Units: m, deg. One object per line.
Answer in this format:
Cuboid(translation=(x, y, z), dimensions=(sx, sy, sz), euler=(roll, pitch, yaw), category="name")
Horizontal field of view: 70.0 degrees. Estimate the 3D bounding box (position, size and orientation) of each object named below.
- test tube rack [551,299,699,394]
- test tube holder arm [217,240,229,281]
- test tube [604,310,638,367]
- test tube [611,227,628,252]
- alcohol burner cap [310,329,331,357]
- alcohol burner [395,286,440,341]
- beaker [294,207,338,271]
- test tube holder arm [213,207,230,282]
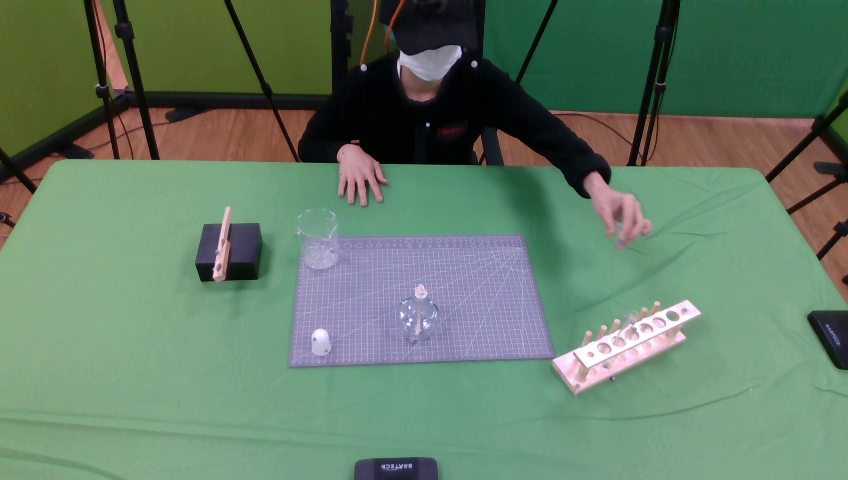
Cuboid(translation=(0.339, 0.166, 1.021), dimensions=(0.242, 0.085, 0.066), euler=(-19, 50, -21), category="test tube rack")
Cuboid(translation=(-0.355, 0.035, 1.070), dimensions=(0.010, 0.015, 0.087), euler=(-9, 47, -1), category="test tube holder arm")
Cuboid(translation=(0.310, 0.158, 0.957), dimensions=(0.017, 0.151, 0.017), euler=(1, 49, -1), category="test tube")
Cuboid(translation=(0.341, 0.001, 1.054), dimensions=(0.017, 0.151, 0.017), euler=(-5, 76, 22), category="test tube")
Cuboid(translation=(-0.173, 0.168, 1.005), dimensions=(0.034, 0.048, 0.033), euler=(2, 46, -2), category="alcohol burner cap")
Cuboid(translation=(-0.010, 0.116, 1.018), dimensions=(0.078, 0.119, 0.077), euler=(3, 47, -3), category="alcohol burner")
Cuboid(translation=(-0.196, 0.003, 1.123), dimensions=(0.074, 0.101, 0.083), euler=(-23, 53, -24), category="beaker")
Cuboid(translation=(-0.366, 0.004, 1.101), dimensions=(0.013, 0.015, 0.177), euler=(-10, 47, -2), category="test tube holder arm")
